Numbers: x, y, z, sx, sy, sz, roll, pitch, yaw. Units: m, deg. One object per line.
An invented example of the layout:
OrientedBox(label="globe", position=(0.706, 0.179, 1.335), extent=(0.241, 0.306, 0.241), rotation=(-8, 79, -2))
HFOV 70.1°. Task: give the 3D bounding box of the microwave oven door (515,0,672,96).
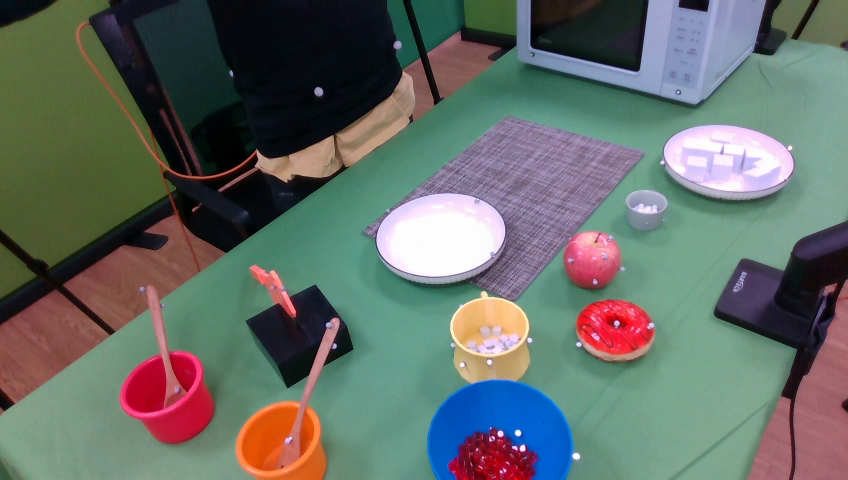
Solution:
OrientedBox(label="microwave oven door", position=(0.343, -0.454, 1.259), extent=(0.353, 0.245, 0.039), rotation=(26, 51, 33))

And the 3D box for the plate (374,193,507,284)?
OrientedBox(label="plate", position=(0.027, 0.000, 0.952), extent=(0.209, 0.038, 0.208), rotation=(-4, 40, 4))

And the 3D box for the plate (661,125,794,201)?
OrientedBox(label="plate", position=(0.513, -0.128, 1.035), extent=(0.207, 0.039, 0.206), rotation=(-4, 40, 4))

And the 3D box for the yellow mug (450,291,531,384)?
OrientedBox(label="yellow mug", position=(0.085, 0.120, 0.786), extent=(0.100, 0.064, 0.130), rotation=(-7, 39, 1))

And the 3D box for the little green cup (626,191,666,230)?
OrientedBox(label="little green cup", position=(0.352, -0.046, 0.963), extent=(0.061, 0.039, 0.061), rotation=(-4, 40, 4))

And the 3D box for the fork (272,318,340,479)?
OrientedBox(label="fork", position=(-0.131, 0.186, 0.676), extent=(0.028, 0.019, 0.207), rotation=(18, 90, 28))

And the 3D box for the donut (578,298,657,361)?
OrientedBox(label="donut", position=(0.250, 0.115, 0.786), extent=(0.099, 0.048, 0.098), rotation=(-5, 37, 4))

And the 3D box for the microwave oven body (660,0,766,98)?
OrientedBox(label="microwave oven body", position=(0.472, -0.513, 1.317), extent=(0.438, 0.261, 0.327), rotation=(26, 51, 34))

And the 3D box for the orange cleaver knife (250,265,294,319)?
OrientedBox(label="orange cleaver knife", position=(-0.222, 0.073, 0.876), extent=(0.012, 0.077, 0.210), rotation=(-23, 12, -22))

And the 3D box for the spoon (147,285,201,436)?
OrientedBox(label="spoon", position=(-0.318, 0.148, 0.755), extent=(0.042, 0.021, 0.193), rotation=(-15, 86, -9))

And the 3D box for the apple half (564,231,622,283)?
OrientedBox(label="apple half", position=(0.248, 0.021, 0.874), extent=(0.080, 0.075, 0.053), rotation=(13, 40, 28))

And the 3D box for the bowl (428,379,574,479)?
OrientedBox(label="bowl", position=(0.082, 0.233, 0.644), extent=(0.151, 0.077, 0.150), rotation=(-4, 39, 4))

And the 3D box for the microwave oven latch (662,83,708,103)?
OrientedBox(label="microwave oven latch", position=(0.518, -0.296, 1.204), extent=(0.078, 0.029, 0.030), rotation=(28, 52, 35))

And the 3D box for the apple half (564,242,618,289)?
OrientedBox(label="apple half", position=(0.229, 0.044, 0.848), extent=(0.081, 0.081, 0.033), rotation=(16, 41, 26))
